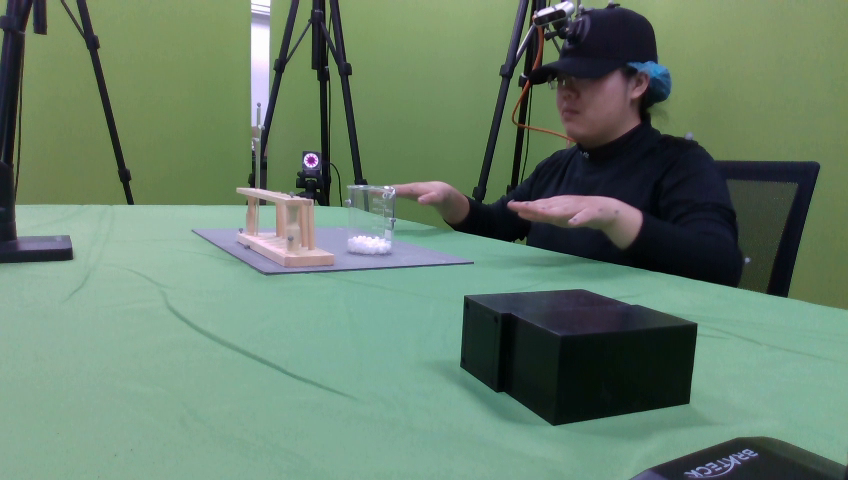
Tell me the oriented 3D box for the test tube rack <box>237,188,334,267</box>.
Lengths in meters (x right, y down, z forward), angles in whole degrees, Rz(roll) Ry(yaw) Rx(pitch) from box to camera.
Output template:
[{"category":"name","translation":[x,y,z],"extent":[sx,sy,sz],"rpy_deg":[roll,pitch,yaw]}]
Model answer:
[{"category":"test tube rack","translation":[-0.202,-0.024,0.855],"extent":[0.067,0.085,0.241],"rpy_deg":[-2,8,-30]}]

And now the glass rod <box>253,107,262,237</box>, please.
[{"category":"glass rod","translation":[-0.251,-0.101,0.912],"extent":[0.008,0.199,0.008],"rpy_deg":[3,3,0]}]

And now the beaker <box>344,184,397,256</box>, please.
[{"category":"beaker","translation":[-0.077,-0.030,0.886],"extent":[0.083,0.100,0.074],"rpy_deg":[9,10,39]}]
